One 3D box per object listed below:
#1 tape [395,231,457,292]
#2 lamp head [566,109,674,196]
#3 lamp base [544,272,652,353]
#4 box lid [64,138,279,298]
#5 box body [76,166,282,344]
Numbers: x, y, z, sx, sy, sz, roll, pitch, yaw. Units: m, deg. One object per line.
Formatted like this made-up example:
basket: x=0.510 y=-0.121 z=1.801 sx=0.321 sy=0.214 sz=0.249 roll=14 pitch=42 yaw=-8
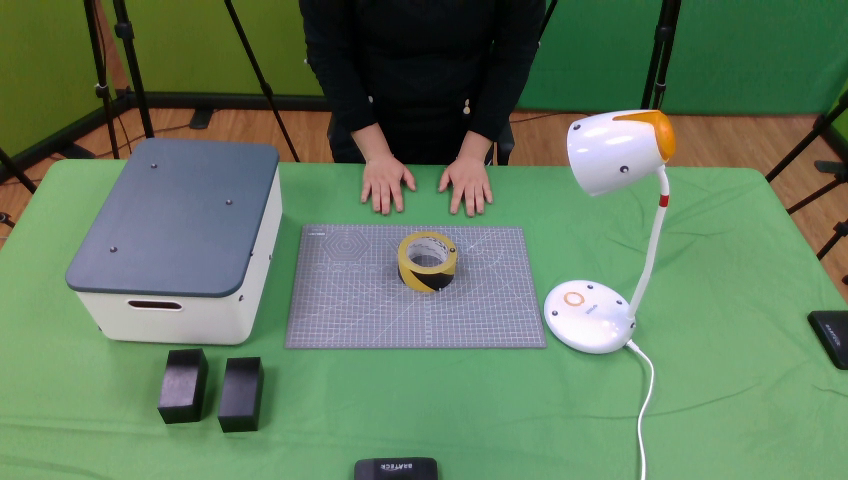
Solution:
tape: x=0.005 y=0.040 z=1.136 sx=0.117 sy=0.053 sz=0.116 roll=2 pitch=46 yaw=-1
lamp head: x=0.272 y=-0.123 z=0.818 sx=0.122 sy=0.113 sz=0.112 roll=-9 pitch=35 yaw=37
lamp base: x=0.310 y=0.086 z=1.029 sx=0.178 sy=0.181 sz=0.160 roll=32 pitch=52 yaw=21
box lid: x=-0.404 y=-0.051 z=1.016 sx=0.263 sy=0.015 sz=0.369 roll=3 pitch=46 yaw=-2
box body: x=-0.406 y=-0.002 z=1.071 sx=0.254 sy=0.161 sz=0.361 roll=2 pitch=46 yaw=-2
